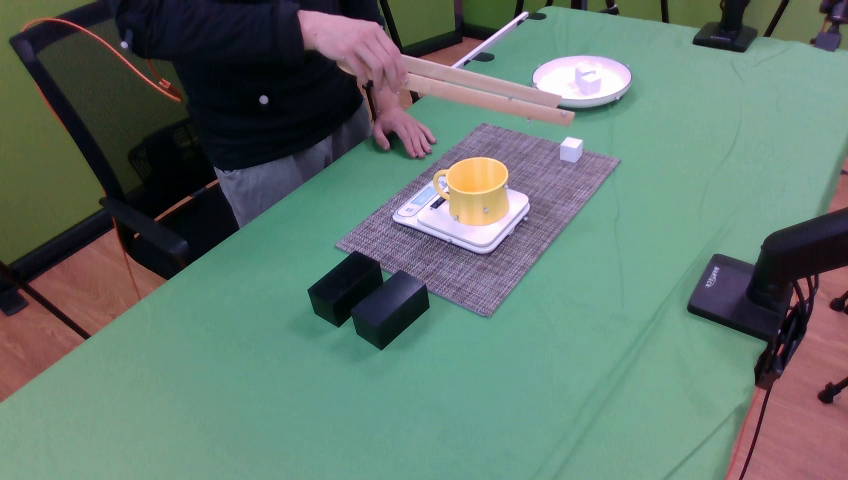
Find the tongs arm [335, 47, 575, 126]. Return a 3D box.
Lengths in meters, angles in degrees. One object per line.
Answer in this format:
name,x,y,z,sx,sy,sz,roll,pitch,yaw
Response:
tongs arm,0.056,-0.235,0.942,0.387,0.026,0.050,8,42,-18

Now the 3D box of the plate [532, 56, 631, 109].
plate,0.335,-0.336,1.301,0.207,0.039,0.206,-4,41,4

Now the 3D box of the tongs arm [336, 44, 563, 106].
tongs arm,0.051,-0.262,0.972,0.390,0.028,0.028,7,45,-19

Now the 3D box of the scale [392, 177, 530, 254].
scale,0.060,-0.050,1.006,0.199,0.032,0.149,22,48,30

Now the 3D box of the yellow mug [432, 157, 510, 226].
yellow mug,0.072,-0.082,0.969,0.130,0.064,0.100,13,45,24
